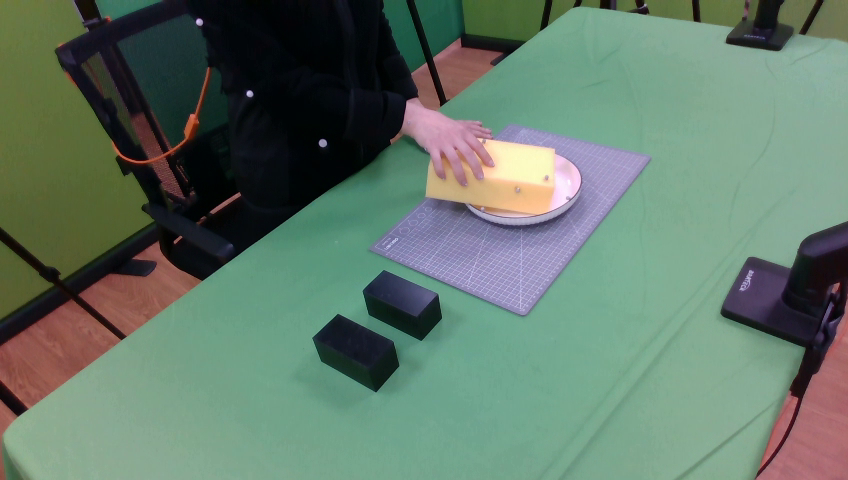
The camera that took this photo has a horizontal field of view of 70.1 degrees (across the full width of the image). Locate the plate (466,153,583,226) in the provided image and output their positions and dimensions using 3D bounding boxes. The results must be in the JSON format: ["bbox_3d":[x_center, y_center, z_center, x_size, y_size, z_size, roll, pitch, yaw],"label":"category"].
[{"bbox_3d":[0.167,-0.089,1.043,0.209,0.038,0.208,-5,40,5],"label":"plate"}]

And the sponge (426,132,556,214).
[{"bbox_3d":[0.115,-0.114,1.021,0.207,0.061,0.118,9,41,2],"label":"sponge"}]
